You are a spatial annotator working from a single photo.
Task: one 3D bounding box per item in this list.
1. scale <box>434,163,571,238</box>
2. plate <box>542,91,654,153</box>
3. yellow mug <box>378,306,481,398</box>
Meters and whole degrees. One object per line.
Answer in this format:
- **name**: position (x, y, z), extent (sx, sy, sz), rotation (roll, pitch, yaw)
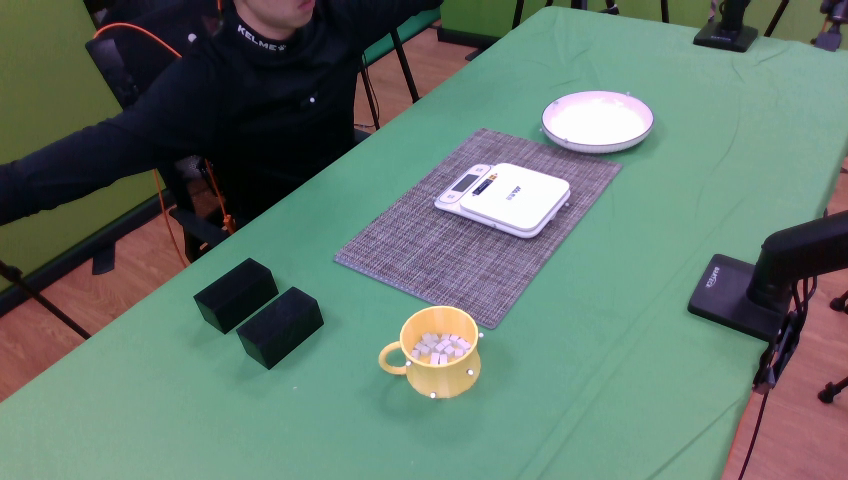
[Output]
- **scale**: position (0.132, -0.075, 1.025), extent (0.199, 0.032, 0.149), rotation (22, 48, 30)
- **plate**: position (0.334, -0.224, 1.171), extent (0.209, 0.038, 0.208), rotation (-4, 40, 4)
- **yellow mug**: position (0.006, 0.144, 0.766), extent (0.131, 0.064, 0.099), rotation (-10, 40, -2)
